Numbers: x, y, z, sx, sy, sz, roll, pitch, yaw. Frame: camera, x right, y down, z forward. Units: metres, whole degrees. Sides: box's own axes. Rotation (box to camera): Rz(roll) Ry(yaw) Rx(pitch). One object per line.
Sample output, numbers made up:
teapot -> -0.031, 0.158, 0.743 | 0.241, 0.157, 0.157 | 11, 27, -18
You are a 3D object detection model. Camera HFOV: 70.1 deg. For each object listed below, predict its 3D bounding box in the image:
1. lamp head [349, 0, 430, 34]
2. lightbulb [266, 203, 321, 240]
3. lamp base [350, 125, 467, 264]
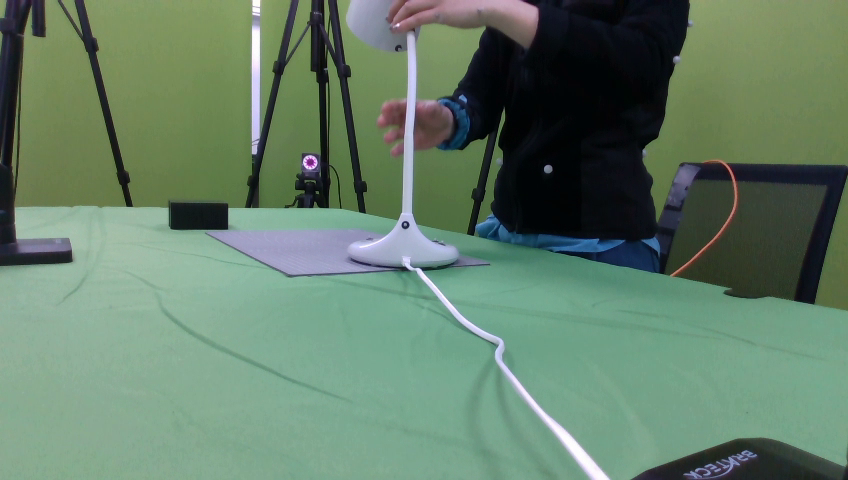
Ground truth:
lamp head -> -0.033, -0.357, 0.815 | 0.113, 0.112, 0.122 | -1, -28, -26
lightbulb -> -0.224, -0.026, 1.031 | 0.059, 0.059, 0.108 | 8, 25, 38
lamp base -> -0.013, -0.063, 0.816 | 0.161, 0.180, 0.178 | 0, 9, -22
